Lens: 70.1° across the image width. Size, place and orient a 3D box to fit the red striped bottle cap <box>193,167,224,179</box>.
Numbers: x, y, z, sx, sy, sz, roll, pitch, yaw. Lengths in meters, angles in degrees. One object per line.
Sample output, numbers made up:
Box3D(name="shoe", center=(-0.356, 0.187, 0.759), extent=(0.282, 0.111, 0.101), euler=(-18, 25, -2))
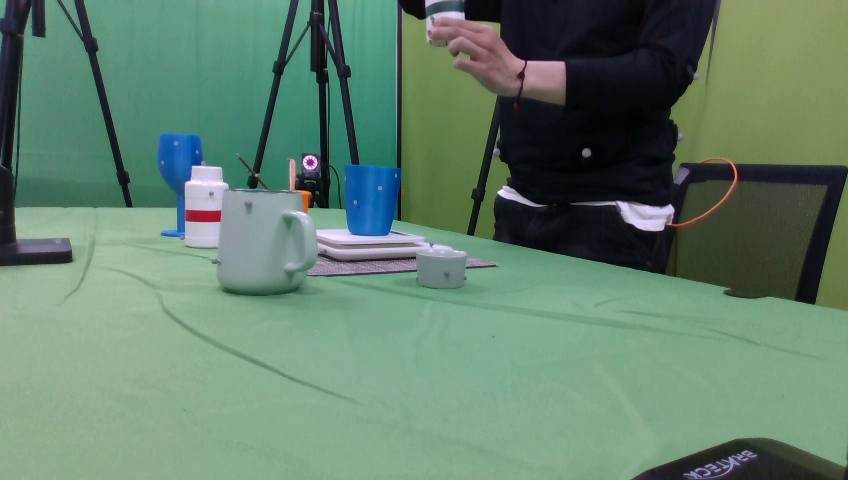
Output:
Box3D(name="red striped bottle cap", center=(-0.329, -0.103, 0.921), extent=(0.044, 0.017, 0.044), euler=(0, 9, 0))

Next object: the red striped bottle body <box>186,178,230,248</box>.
Box3D(name="red striped bottle body", center=(-0.331, -0.049, 0.927), extent=(0.063, 0.119, 0.063), euler=(2, 7, 0))

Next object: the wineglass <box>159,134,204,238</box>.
Box3D(name="wineglass", center=(-0.415, -0.093, 1.040), extent=(0.074, 0.172, 0.073), euler=(2, 7, 0))

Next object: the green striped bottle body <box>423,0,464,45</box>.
Box3D(name="green striped bottle body", center=(0.030, -0.376, 0.956), extent=(0.063, 0.119, 0.063), euler=(-4, 5, 1))

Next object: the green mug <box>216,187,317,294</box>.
Box3D(name="green mug", center=(-0.157, 0.000, 0.629), extent=(0.124, 0.105, 0.093), euler=(7, 9, 37))

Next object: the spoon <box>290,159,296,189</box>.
Box3D(name="spoon", center=(-0.273, -0.102, 1.252), extent=(0.042, 0.193, 0.021), euler=(7, -38, -17))

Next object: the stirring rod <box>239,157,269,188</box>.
Box3D(name="stirring rod", center=(-0.309, -0.098, 1.209), extent=(0.006, 0.177, 0.014), euler=(-39, 29, -3))

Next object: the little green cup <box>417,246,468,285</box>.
Box3D(name="little green cup", center=(0.021, 0.029, 0.701), extent=(0.061, 0.038, 0.061), euler=(1, 6, 0))

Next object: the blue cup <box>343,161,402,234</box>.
Box3D(name="blue cup", center=(-0.078, -0.062, 0.884), extent=(0.093, 0.100, 0.092), euler=(4, 6, 0))

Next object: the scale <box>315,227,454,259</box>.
Box3D(name="scale", center=(-0.066, 0.001, 0.906), extent=(0.202, 0.031, 0.148), euler=(-2, 8, -31))
